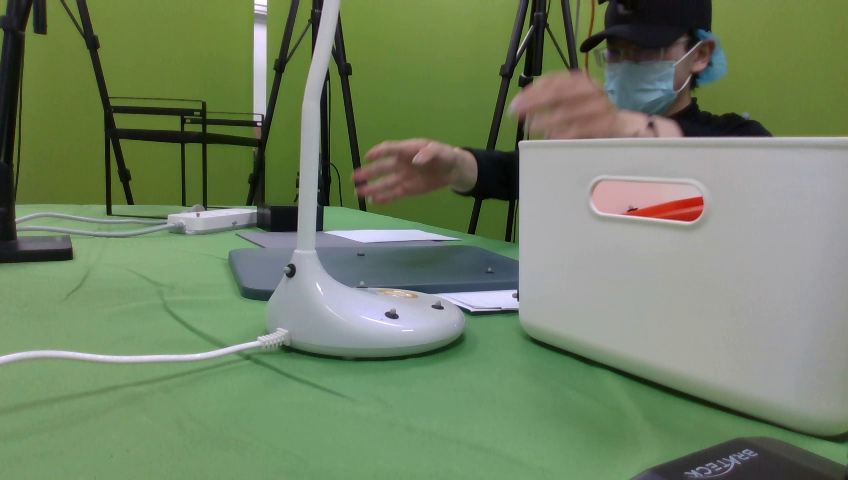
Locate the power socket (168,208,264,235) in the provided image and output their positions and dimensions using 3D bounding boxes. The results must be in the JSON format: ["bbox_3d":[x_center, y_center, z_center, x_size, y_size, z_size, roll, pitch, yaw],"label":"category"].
[{"bbox_3d":[-0.381,-0.038,1.129,0.072,0.032,0.227,4,8,17],"label":"power socket"}]

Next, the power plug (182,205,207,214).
[{"bbox_3d":[-0.456,-0.041,1.195,0.052,0.035,0.072,0,39,24],"label":"power plug"}]

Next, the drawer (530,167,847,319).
[{"bbox_3d":[0.225,0.003,0.468,0.213,0.073,0.193,-14,2,-36],"label":"drawer"}]

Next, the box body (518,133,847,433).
[{"bbox_3d":[0.278,0.005,0.485,0.366,0.160,0.253,-3,9,-36],"label":"box body"}]

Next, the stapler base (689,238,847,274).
[{"bbox_3d":[0.270,0.012,0.488,0.041,0.024,0.130,-15,3,-19],"label":"stapler base"}]

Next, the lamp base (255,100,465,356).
[{"bbox_3d":[-0.051,-0.014,0.466,0.160,0.180,0.180,7,11,34],"label":"lamp base"}]

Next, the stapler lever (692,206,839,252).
[{"bbox_3d":[0.266,-0.011,0.486,0.027,0.040,0.117,-15,2,-19],"label":"stapler lever"}]

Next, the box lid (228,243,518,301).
[{"bbox_3d":[-0.044,0.033,0.756,0.373,0.015,0.262,-1,9,-21],"label":"box lid"}]

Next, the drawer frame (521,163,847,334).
[{"bbox_3d":[0.224,0.002,0.465,0.215,0.082,0.200,-14,2,-36],"label":"drawer frame"}]

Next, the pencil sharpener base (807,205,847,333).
[{"bbox_3d":[0.385,0.026,0.519,0.062,0.107,0.076,-5,11,-43],"label":"pencil sharpener base"}]

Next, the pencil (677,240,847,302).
[{"bbox_3d":[0.248,0.018,0.464,0.012,0.012,0.193,1,10,-9],"label":"pencil"}]
